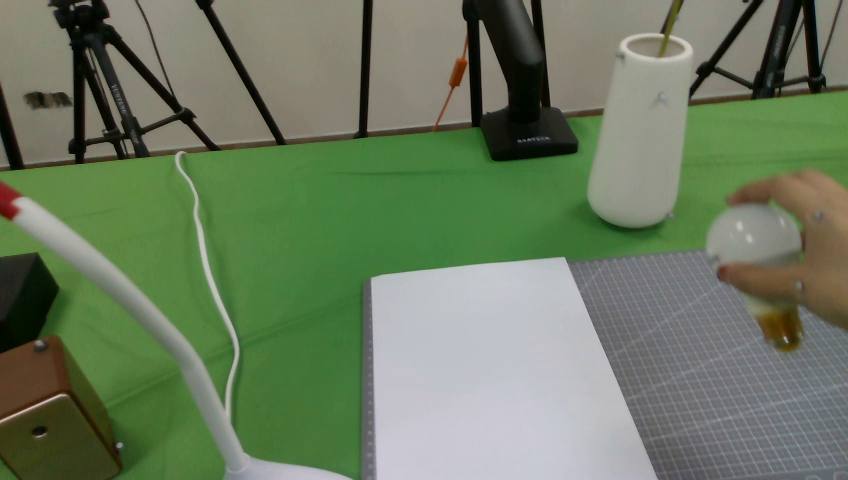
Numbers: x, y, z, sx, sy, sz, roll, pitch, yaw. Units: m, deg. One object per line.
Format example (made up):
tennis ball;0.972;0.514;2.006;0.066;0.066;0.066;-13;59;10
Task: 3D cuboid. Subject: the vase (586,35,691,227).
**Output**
vase;0.232;-0.113;0.658;0.098;0.202;0.097;-3;38;3

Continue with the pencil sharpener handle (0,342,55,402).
pencil sharpener handle;-0.319;0.102;0.493;0.036;0.068;0.030;-20;41;-26

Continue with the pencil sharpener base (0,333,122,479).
pencil sharpener base;-0.289;0.136;0.467;0.061;0.108;0.076;-25;43;-23

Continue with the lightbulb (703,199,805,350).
lightbulb;0.235;0.024;0.422;0.059;0.059;0.107;-15;81;-12

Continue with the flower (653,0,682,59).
flower;0.223;-0.163;0.589;0.044;0.365;0.038;33;64;21

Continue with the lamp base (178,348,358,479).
lamp base;-0.103;0.161;0.361;0.161;0.182;0.177;-28;41;-25
